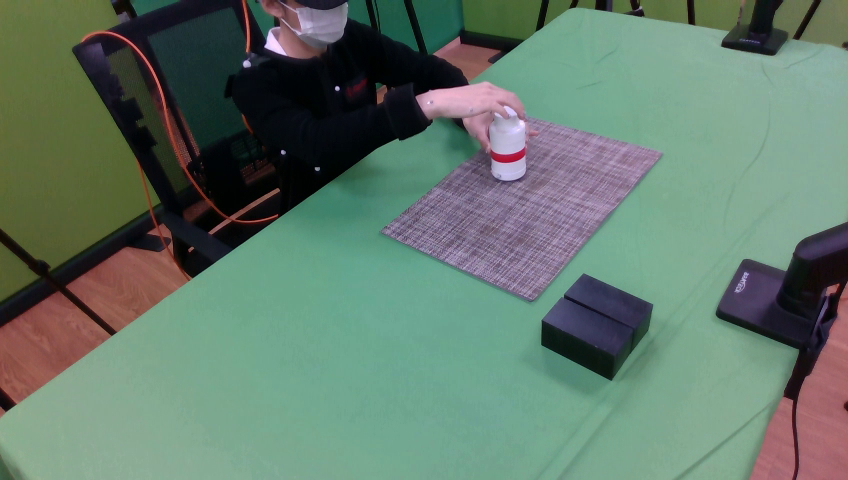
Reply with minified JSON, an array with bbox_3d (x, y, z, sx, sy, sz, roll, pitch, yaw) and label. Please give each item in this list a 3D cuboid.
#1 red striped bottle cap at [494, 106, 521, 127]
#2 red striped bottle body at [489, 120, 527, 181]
[{"bbox_3d":[0.142,-0.211,1.029,0.044,0.018,0.044,-7,38,6],"label":"red striped bottle cap"},{"bbox_3d":[0.148,-0.169,1.062,0.063,0.120,0.062,-5,38,5],"label":"red striped bottle body"}]
